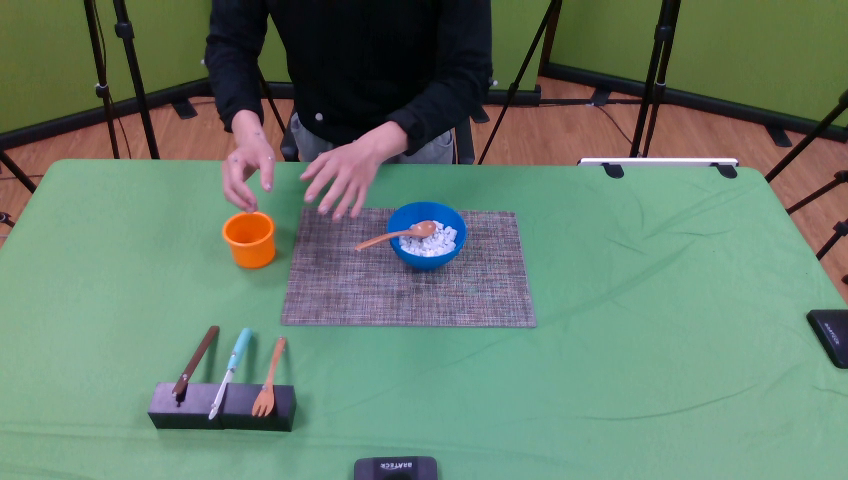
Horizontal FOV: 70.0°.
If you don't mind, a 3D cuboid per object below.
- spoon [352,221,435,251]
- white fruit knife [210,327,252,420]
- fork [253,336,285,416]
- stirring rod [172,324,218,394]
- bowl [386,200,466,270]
[{"bbox_3d":[-0.054,-0.008,1.110,0.194,0.022,0.041,-14,41,-43],"label":"spoon"},{"bbox_3d":[-0.298,0.200,0.938,0.016,0.027,0.206,0,30,0],"label":"white fruit knife"},{"bbox_3d":[-0.236,0.206,0.938,0.028,0.019,0.206,-2,26,-3],"label":"fork"},{"bbox_3d":[-0.361,0.185,0.962,0.014,0.006,0.175,2,26,0],"label":"stirring rod"},{"bbox_3d":[0.002,0.003,1.150,0.151,0.077,0.150,2,46,-2],"label":"bowl"}]
